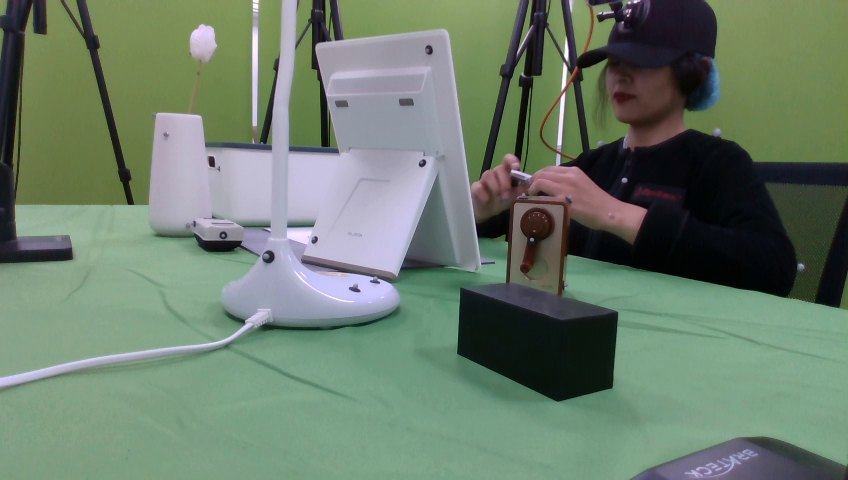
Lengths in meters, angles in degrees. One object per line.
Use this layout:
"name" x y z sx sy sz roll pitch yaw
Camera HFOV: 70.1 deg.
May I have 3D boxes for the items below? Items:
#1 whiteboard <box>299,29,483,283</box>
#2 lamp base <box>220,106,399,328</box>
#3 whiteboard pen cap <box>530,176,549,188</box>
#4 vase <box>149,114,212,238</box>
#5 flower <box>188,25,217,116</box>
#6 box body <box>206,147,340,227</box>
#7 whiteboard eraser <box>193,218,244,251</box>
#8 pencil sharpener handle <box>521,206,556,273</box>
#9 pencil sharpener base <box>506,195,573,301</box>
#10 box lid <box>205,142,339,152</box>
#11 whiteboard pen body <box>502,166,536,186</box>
"whiteboard" -0.074 -0.082 0.742 0.216 0.305 0.144 9 29 38
"lamp base" -0.102 -0.023 0.531 0.160 0.180 0.179 4 10 10
"whiteboard pen cap" 0.186 -0.094 0.972 0.018 0.018 0.033 -1 11 -22
"vase" -0.405 -0.106 1.005 0.098 0.200 0.098 2 6 0
"flower" -0.394 -0.189 1.011 0.044 0.361 0.038 -1 -13 27
"box body" -0.276 -0.122 1.320 0.366 0.160 0.253 -2 9 -30
"whiteboard eraser" -0.307 -0.010 0.900 0.056 0.042 0.112 -4 11 -28
"pencil sharpener handle" 0.111 0.000 0.613 0.036 0.067 0.031 13 10 14
"pencil sharpener base" 0.127 0.007 0.663 0.061 0.107 0.077 5 8 15
"box lid" -0.270 -0.196 1.311 0.373 0.015 0.262 -2 9 -30
"whiteboard pen body" 0.167 -0.108 1.028 0.017 0.017 0.140 0 16 -19
